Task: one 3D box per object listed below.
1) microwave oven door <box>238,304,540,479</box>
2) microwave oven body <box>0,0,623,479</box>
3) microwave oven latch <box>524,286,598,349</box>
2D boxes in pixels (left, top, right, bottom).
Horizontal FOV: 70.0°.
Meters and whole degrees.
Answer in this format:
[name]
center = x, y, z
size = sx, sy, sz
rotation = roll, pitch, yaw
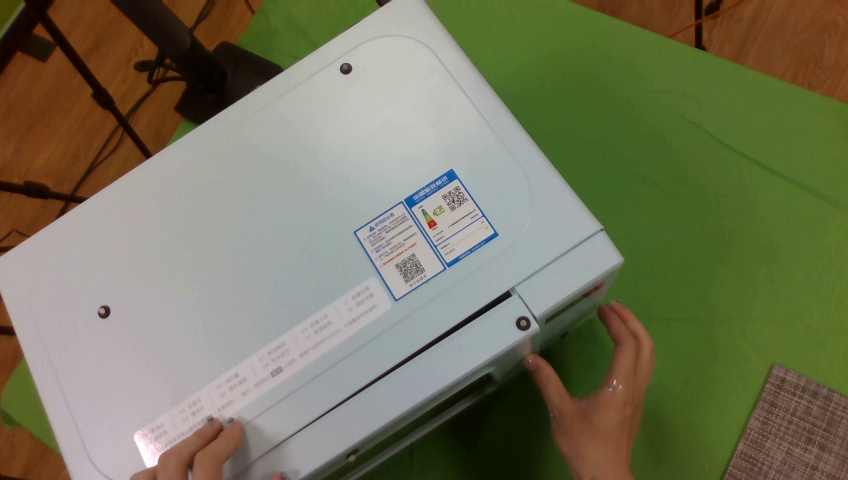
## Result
[microwave oven door]
center = -0.055, 0.178, 0.541
size = 0.356, 0.245, 0.039
rotation = -32, 70, -1
[microwave oven body]
center = -0.098, 0.039, 0.594
size = 0.442, 0.262, 0.323
rotation = -34, 72, 0
[microwave oven latch]
center = 0.145, 0.084, 0.642
size = 0.079, 0.030, 0.030
rotation = -30, 72, 1
